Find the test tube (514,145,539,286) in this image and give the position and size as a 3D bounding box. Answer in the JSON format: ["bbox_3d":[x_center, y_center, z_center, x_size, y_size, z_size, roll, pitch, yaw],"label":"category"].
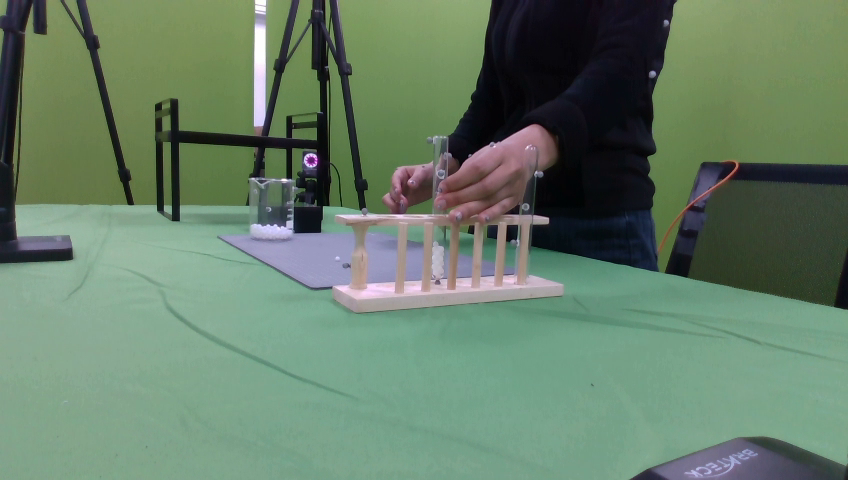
[{"bbox_3d":[0.108,-0.024,0.638,0.017,0.150,0.017,3,9,0],"label":"test tube"}]

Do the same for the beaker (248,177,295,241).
[{"bbox_3d":[-0.252,-0.051,0.992,0.074,0.100,0.084,3,9,6],"label":"beaker"}]

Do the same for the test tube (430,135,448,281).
[{"bbox_3d":[0.015,-0.032,0.623,0.017,0.150,0.017,1,7,0],"label":"test tube"}]

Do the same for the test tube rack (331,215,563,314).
[{"bbox_3d":[0.031,0.019,0.626,0.243,0.085,0.066,-1,8,-29],"label":"test tube rack"}]
